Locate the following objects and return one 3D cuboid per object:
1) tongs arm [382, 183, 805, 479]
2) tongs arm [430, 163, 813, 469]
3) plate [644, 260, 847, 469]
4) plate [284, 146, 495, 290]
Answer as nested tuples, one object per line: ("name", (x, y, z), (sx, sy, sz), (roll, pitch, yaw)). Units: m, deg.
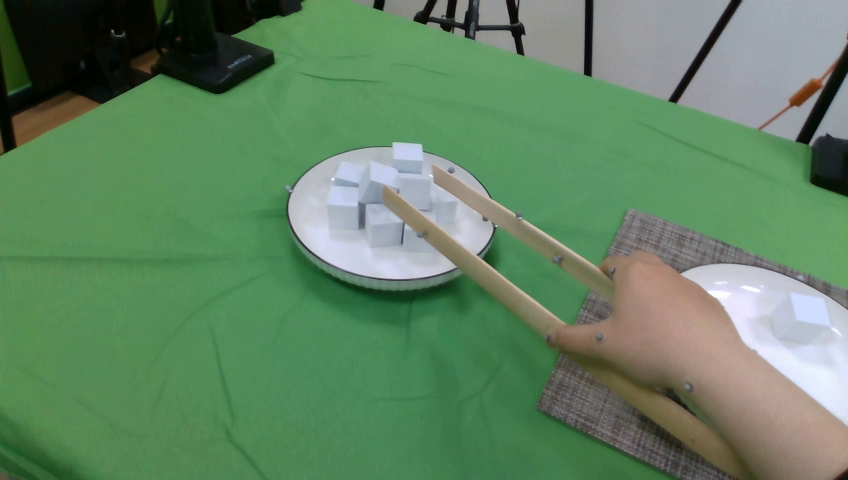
("tongs arm", (0.088, 0.049, 0.465), (0.028, 0.028, 0.383), (-25, 46, -34))
("tongs arm", (0.116, 0.035, 0.482), (0.051, 0.027, 0.381), (-28, 48, -31))
("plate", (0.289, 0.102, 0.520), (0.208, 0.039, 0.205), (4, 43, -3))
("plate", (-0.033, -0.022, 0.612), (0.209, 0.038, 0.207), (4, 42, -4))
